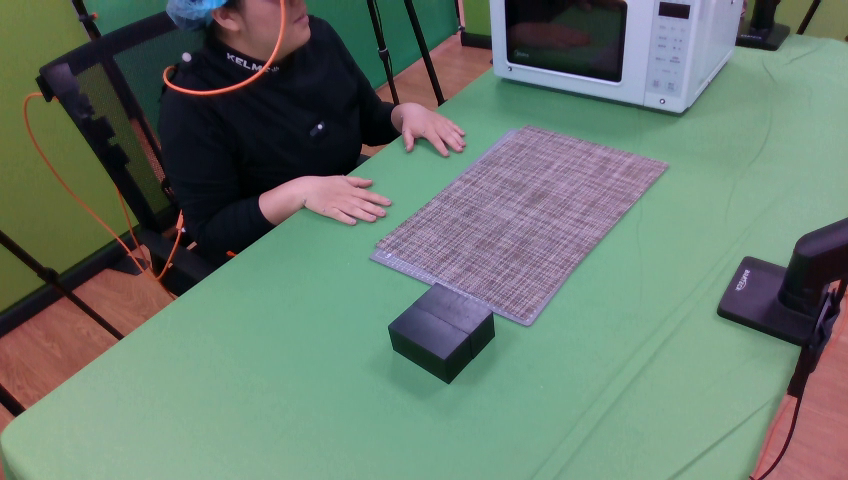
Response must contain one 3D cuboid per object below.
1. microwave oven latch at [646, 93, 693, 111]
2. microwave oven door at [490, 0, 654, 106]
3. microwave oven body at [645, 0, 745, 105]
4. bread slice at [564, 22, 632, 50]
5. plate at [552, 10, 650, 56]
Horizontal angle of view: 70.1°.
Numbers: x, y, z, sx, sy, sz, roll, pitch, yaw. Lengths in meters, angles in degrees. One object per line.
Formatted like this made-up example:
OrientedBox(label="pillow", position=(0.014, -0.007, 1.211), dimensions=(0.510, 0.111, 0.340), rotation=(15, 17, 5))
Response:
OrientedBox(label="microwave oven latch", position=(0.477, -0.273, 1.177), dimensions=(0.078, 0.029, 0.030), rotation=(22, 50, 33))
OrientedBox(label="microwave oven door", position=(0.292, -0.420, 1.228), dimensions=(0.353, 0.245, 0.039), rotation=(22, 49, 32))
OrientedBox(label="microwave oven body", position=(0.416, -0.486, 1.290), dimensions=(0.438, 0.261, 0.327), rotation=(21, 50, 33))
OrientedBox(label="bread slice", position=(0.394, -0.454, 1.344), dimensions=(0.105, 0.019, 0.130), rotation=(-35, 43, -26))
OrientedBox(label="plate", position=(0.390, -0.455, 1.339), dimensions=(0.209, 0.038, 0.208), rotation=(-6, 39, 5))
